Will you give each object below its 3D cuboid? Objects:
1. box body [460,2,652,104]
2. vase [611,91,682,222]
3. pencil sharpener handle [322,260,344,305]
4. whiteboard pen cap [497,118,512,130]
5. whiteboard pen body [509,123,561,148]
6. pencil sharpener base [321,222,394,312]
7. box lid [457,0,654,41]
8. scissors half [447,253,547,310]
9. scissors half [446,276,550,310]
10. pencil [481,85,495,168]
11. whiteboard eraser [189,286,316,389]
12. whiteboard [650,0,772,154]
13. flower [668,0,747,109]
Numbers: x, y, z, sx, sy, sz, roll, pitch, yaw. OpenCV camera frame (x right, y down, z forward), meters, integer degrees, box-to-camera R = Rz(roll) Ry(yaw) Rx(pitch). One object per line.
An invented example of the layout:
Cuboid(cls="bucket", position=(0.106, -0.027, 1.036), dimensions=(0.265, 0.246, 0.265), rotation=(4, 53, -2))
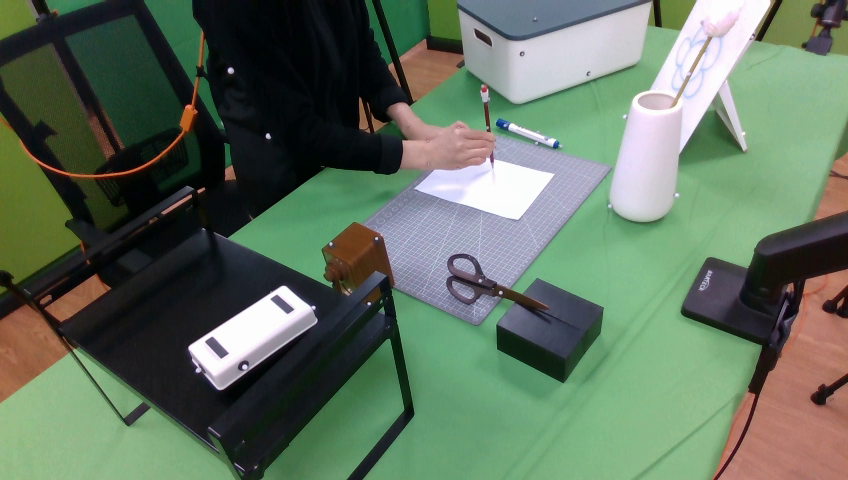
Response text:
Cuboid(cls="box body", position=(0.291, -0.465, 1.371), dimensions=(0.365, 0.161, 0.252), rotation=(-22, 42, -16))
Cuboid(cls="vase", position=(0.348, -0.125, 0.935), dimensions=(0.098, 0.201, 0.097), rotation=(-3, 40, 3))
Cuboid(cls="pencil sharpener handle", position=(-0.131, 0.061, 0.839), dimensions=(0.035, 0.068, 0.031), rotation=(29, 56, 27))
Cuboid(cls="whiteboard pen cap", position=(0.165, -0.235, 1.227), dimensions=(0.033, 0.018, 0.018), rotation=(31, 53, 31))
Cuboid(cls="whiteboard pen body", position=(0.208, -0.211, 1.196), dimensions=(0.139, 0.017, 0.017), rotation=(30, 52, 33))
Cuboid(cls="pencil sharpener base", position=(-0.096, 0.041, 0.873), dimensions=(0.061, 0.107, 0.077), rotation=(25, 54, 32))
Cuboid(cls="box lid", position=(0.285, -0.522, 1.323), dimensions=(0.373, 0.015, 0.261), rotation=(-22, 43, -16))
Cuboid(cls="scissors half", position=(0.098, 0.058, 0.821), dimensions=(0.173, 0.040, 0.013), rotation=(27, 33, 36))
Cuboid(cls="scissors half", position=(0.098, 0.077, 0.827), dimensions=(0.174, 0.040, 0.013), rotation=(6, 14, 44))
Cuboid(cls="pencil", position=(0.113, -0.191, 1.046), dimensions=(0.012, 0.195, 0.012), rotation=(-5, 54, 8))
Cuboid(cls="whiteboard eraser", position=(-0.166, 0.096, 0.593), dimensions=(0.113, 0.042, 0.055), rotation=(-36, 47, -29))
Cuboid(cls="whiteboard", position=(0.543, -0.298, 1.076), dimensions=(0.144, 0.305, 0.216), rotation=(12, 40, -7))
Cuboid(cls="flower", position=(0.354, -0.187, 0.879), dimensions=(0.038, 0.362, 0.044), rotation=(30, 48, 14))
